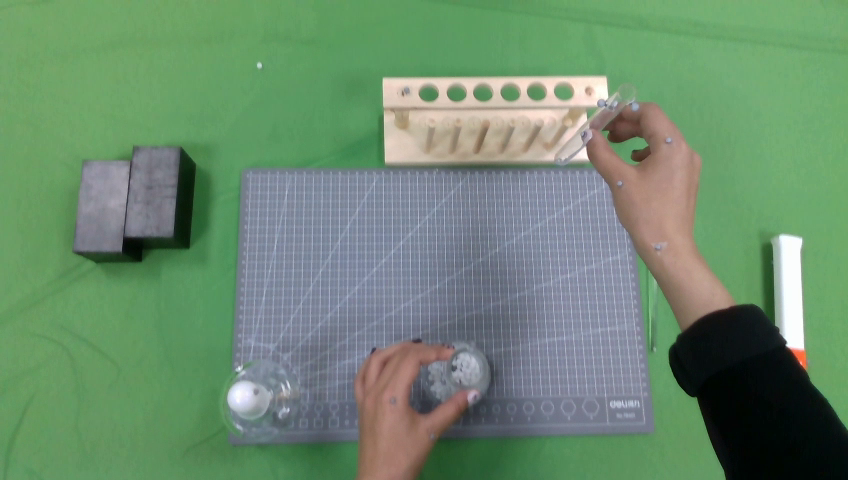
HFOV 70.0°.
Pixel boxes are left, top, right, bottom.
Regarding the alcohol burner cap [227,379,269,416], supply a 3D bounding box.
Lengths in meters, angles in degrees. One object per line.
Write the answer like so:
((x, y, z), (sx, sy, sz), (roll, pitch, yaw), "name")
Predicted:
((-0.162, 0.141, 0.550), (0.034, 0.048, 0.033), (1, 68, -3), "alcohol burner cap")

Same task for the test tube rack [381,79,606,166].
((0.074, -0.131, 0.684), (0.242, 0.085, 0.066), (-1, 76, -4), "test tube rack")

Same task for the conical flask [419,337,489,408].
((0.035, 0.128, 0.598), (0.075, 0.122, 0.075), (1, 76, -3), "conical flask")

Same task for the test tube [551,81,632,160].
((0.143, -0.100, 0.533), (0.017, 0.150, 0.017), (1, 78, -7), "test tube")

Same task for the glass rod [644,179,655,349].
((0.259, 0.025, 0.696), (0.008, 0.008, 0.199), (6, 78, -2), "glass rod")

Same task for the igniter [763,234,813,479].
((0.401, 0.128, 0.671), (0.057, 0.025, 0.275), (9, 76, -11), "igniter")

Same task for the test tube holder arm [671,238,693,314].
((0.297, 0.041, 0.692), (0.010, 0.015, 0.087), (-15, 76, 31), "test tube holder arm")

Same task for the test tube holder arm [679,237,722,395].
((0.309, 0.083, 0.679), (0.013, 0.015, 0.177), (-17, 75, 31), "test tube holder arm")

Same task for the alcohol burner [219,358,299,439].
((-0.163, 0.152, 0.585), (0.078, 0.119, 0.077), (0, 75, -1), "alcohol burner")
